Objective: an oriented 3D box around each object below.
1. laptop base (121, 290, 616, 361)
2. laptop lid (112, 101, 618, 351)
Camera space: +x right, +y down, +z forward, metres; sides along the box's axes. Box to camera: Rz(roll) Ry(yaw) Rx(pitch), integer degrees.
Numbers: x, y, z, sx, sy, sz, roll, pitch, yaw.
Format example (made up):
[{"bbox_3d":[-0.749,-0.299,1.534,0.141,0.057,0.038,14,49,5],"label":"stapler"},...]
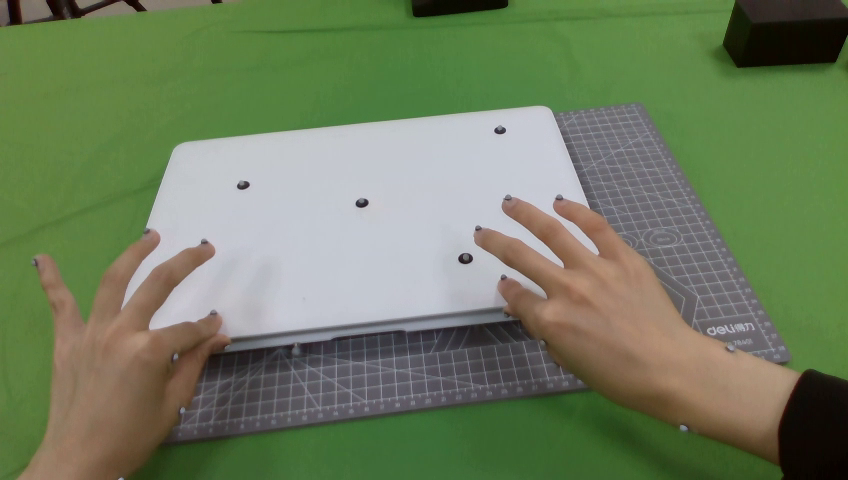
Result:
[{"bbox_3d":[-0.047,-0.017,0.501,0.354,0.023,0.233,-6,50,0],"label":"laptop base"},{"bbox_3d":[-0.049,-0.028,0.487,0.357,0.013,0.239,-5,47,1],"label":"laptop lid"}]
